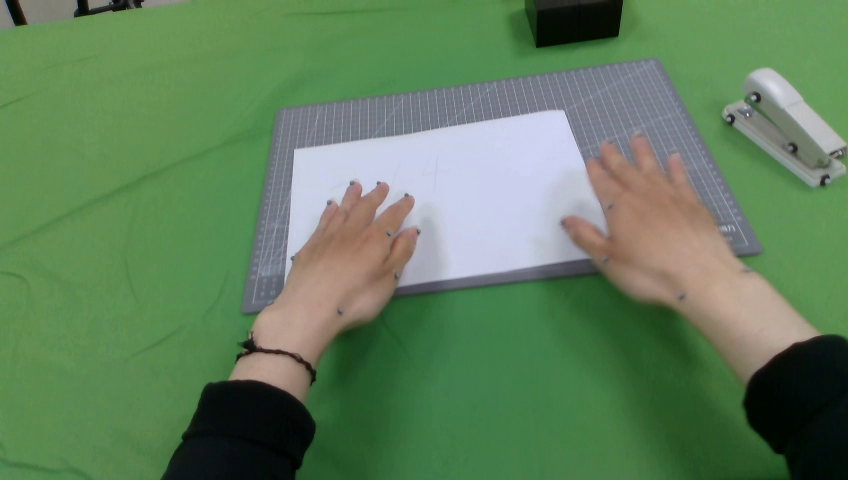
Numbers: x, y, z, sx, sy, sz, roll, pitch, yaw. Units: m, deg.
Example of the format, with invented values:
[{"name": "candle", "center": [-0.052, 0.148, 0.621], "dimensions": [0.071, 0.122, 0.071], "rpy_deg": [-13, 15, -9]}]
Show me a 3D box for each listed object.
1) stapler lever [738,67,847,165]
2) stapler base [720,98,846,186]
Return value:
[{"name": "stapler lever", "center": [0.343, -0.120, 0.567], "dimensions": [0.027, 0.040, 0.116], "rpy_deg": [-24, 51, -8]}, {"name": "stapler base", "center": [0.345, -0.105, 0.586], "dimensions": [0.041, 0.025, 0.129], "rpy_deg": [-23, 51, -8]}]
